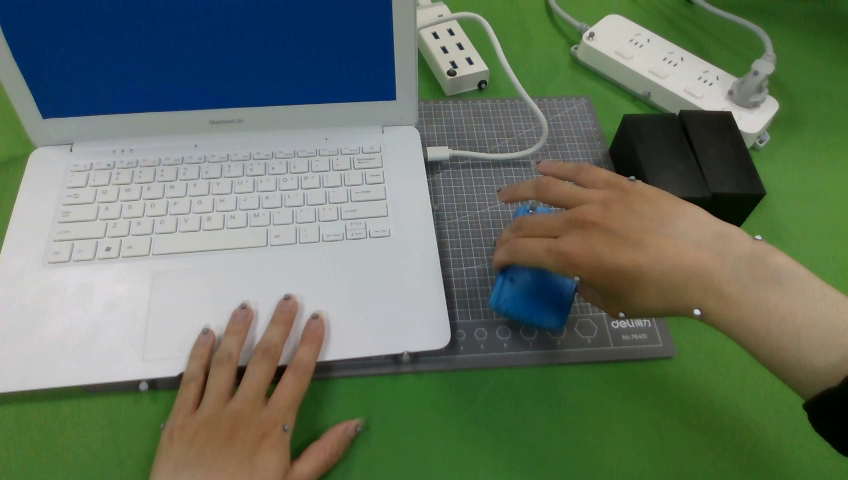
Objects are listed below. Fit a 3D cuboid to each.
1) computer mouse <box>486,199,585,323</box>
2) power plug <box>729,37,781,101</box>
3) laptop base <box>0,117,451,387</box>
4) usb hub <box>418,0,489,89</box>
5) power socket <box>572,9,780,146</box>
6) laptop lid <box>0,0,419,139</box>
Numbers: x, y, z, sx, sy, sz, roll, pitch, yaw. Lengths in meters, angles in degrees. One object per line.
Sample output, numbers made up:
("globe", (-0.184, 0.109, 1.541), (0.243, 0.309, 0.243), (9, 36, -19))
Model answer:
("computer mouse", (0.093, 0.010, 0.484), (0.062, 0.041, 0.116), (20, 49, 6))
("power plug", (0.340, -0.164, 0.611), (0.072, 0.053, 0.035), (-32, 62, -20))
("laptop base", (-0.167, -0.003, 0.510), (0.355, 0.023, 0.233), (-5, 60, -6))
("usb hub", (0.023, -0.218, 0.661), (0.049, 0.025, 0.124), (-17, 59, -14))
("power socket", (0.265, -0.177, 0.643), (0.225, 0.033, 0.072), (39, 61, 21))
("laptop lid", (-0.180, -0.188, 0.492), (0.357, 0.244, 0.013), (-6, 43, -5))
